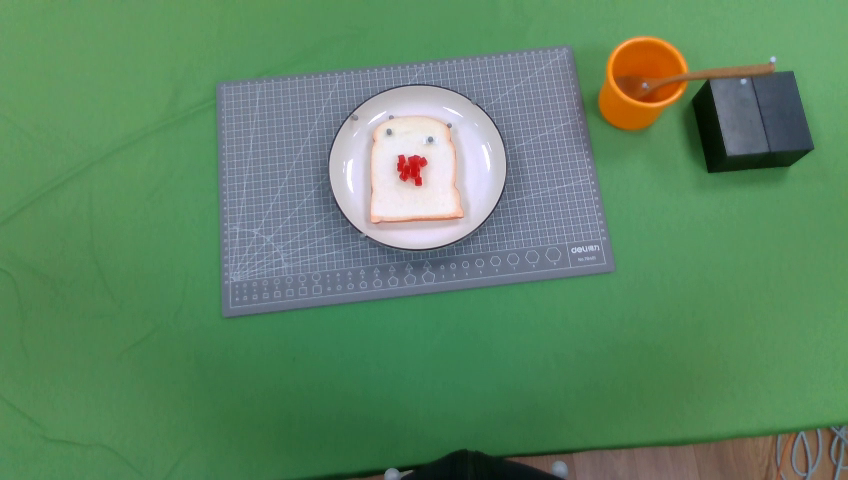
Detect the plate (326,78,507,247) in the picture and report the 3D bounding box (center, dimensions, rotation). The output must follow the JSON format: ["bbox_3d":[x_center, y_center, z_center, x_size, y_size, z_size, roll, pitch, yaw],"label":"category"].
[{"bbox_3d":[-0.008,-0.089,0.709,0.209,0.038,0.208,0,75,1],"label":"plate"}]

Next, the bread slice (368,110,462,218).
[{"bbox_3d":[-0.017,-0.089,0.711,0.107,0.018,0.133,-6,75,-2],"label":"bread slice"}]

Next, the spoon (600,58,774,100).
[{"bbox_3d":[0.285,-0.184,0.677,0.022,0.192,0.041,35,71,-36],"label":"spoon"}]
